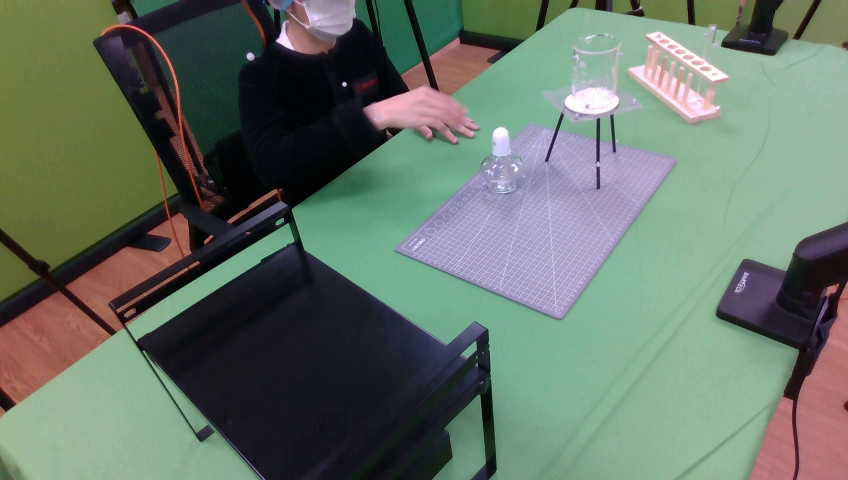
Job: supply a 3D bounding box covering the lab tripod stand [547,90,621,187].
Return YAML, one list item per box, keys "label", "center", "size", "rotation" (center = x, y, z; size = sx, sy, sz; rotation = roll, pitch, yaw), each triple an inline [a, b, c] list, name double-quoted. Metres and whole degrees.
- label: "lab tripod stand"
  center: [0.289, -0.184, 1.062]
  size: [0.148, 0.132, 0.147]
  rotation: [-6, 41, 6]

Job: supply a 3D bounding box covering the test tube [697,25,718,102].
- label: "test tube"
  center: [0.546, -0.337, 1.166]
  size: [0.017, 0.151, 0.017]
  rotation: [-5, 36, 4]

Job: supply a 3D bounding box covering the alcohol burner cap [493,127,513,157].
- label: "alcohol burner cap"
  center: [0.132, -0.169, 1.030]
  size: [0.034, 0.048, 0.033]
  rotation: [-7, 36, 5]

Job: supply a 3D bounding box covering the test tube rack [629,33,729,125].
- label: "test tube rack"
  center: [0.516, -0.337, 1.247]
  size: [0.067, 0.085, 0.240]
  rotation: [-14, 41, -7]

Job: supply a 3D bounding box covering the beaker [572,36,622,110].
- label: "beaker"
  center: [0.279, -0.274, 0.992]
  size: [0.074, 0.101, 0.083]
  rotation: [-14, 40, -5]

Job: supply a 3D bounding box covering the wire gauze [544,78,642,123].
- label: "wire gauze"
  center: [0.282, -0.234, 1.021]
  size: [0.125, 0.011, 0.120]
  rotation: [-17, 38, -4]

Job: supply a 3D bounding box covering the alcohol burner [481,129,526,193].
- label: "alcohol burner"
  center: [0.138, -0.142, 1.052]
  size: [0.078, 0.119, 0.077]
  rotation: [-5, 42, 5]
